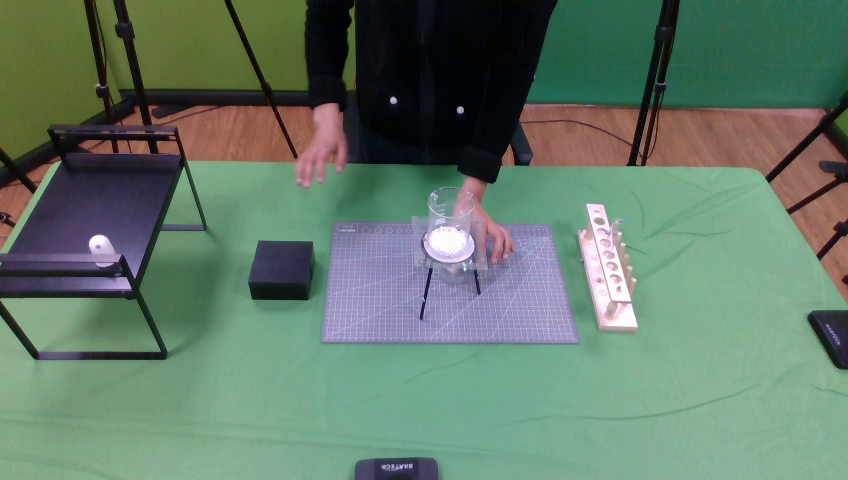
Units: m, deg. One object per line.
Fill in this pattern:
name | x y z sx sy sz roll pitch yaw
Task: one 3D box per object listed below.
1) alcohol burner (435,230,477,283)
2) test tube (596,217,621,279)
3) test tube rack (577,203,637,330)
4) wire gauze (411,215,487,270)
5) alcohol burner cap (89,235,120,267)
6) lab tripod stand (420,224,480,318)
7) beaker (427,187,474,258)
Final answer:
alcohol burner | 0.060 0.023 1.113 0.078 0.120 0.077 1 46 -1
test tube | 0.331 0.018 1.094 0.017 0.151 0.017 0 45 0
test tube rack | 0.348 0.045 1.139 0.067 0.085 0.241 2 46 -2
wire gauze | 0.041 0.003 1.026 0.125 0.011 0.120 0 46 -1
alcohol burner cap | -0.469 0.013 0.885 0.034 0.048 0.033 1 47 -1
lab tripod stand | 0.034 0.052 1.070 0.148 0.132 0.147 3 48 -3
beaker | 0.043 -0.027 0.989 0.084 0.101 0.073 -26 53 -26
